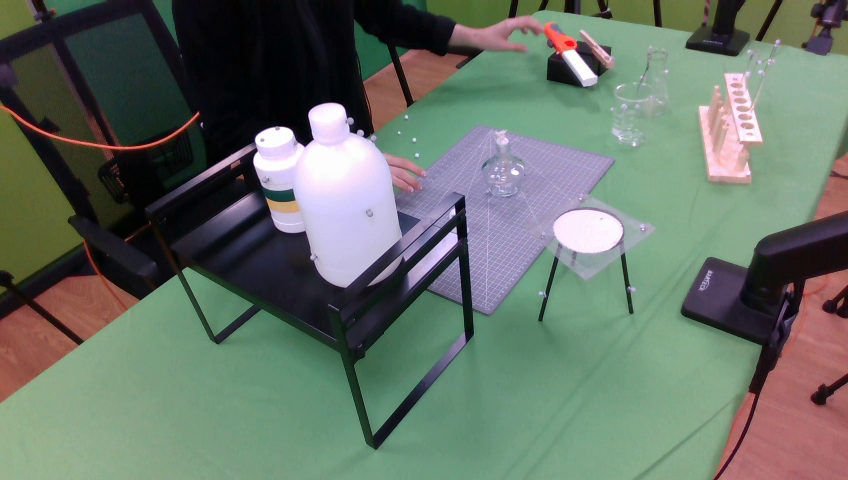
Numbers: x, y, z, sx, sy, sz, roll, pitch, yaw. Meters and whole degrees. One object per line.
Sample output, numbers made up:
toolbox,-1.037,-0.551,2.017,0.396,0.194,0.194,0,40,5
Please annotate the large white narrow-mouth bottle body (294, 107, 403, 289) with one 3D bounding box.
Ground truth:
large white narrow-mouth bottle body,-0.082,-0.047,0.634,0.102,0.195,0.101,-4,40,4

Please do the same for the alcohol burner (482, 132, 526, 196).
alcohol burner,0.137,-0.136,1.042,0.078,0.119,0.077,-4,43,4

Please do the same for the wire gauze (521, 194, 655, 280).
wire gauze,0.207,-0.012,0.772,0.122,0.011,0.124,-28,44,-20

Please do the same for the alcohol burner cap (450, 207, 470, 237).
alcohol burner cap,0.057,-0.032,0.987,0.034,0.048,0.033,-4,41,4

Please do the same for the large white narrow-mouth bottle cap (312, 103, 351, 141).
large white narrow-mouth bottle cap,-0.089,-0.113,0.579,0.038,0.024,0.037,-3,39,3

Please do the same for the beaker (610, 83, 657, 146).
beaker,0.388,-0.235,1.138,0.074,0.101,0.083,-31,46,-26

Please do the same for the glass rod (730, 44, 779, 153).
glass rod,0.555,-0.233,1.020,0.008,0.200,0.008,2,39,-1

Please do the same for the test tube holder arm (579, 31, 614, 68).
test tube holder arm,0.383,-0.428,1.351,0.013,0.015,0.177,-11,41,-3

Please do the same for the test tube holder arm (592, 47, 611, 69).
test tube holder arm,0.385,-0.398,1.317,0.010,0.015,0.087,-11,41,-2

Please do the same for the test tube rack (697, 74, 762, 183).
test tube rack,0.547,-0.208,1.095,0.066,0.085,0.242,5,42,15

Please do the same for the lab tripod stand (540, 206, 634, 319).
lab tripod stand,0.218,0.034,0.821,0.148,0.132,0.147,-4,42,4

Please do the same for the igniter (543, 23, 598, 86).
igniter,0.320,-0.419,1.345,0.057,0.025,0.274,-12,44,-3

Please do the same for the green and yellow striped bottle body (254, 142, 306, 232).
green and yellow striped bottle body,-0.165,-0.073,0.732,0.063,0.120,0.063,-4,41,4

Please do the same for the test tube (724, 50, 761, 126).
test tube,0.570,-0.269,1.086,0.017,0.151,0.017,-1,46,1

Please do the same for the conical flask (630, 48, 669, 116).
conical flask,0.457,-0.317,1.205,0.075,0.122,0.075,-4,41,4

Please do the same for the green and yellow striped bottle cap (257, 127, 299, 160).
green and yellow striped bottle cap,-0.169,-0.112,0.698,0.045,0.020,0.045,-5,40,5
